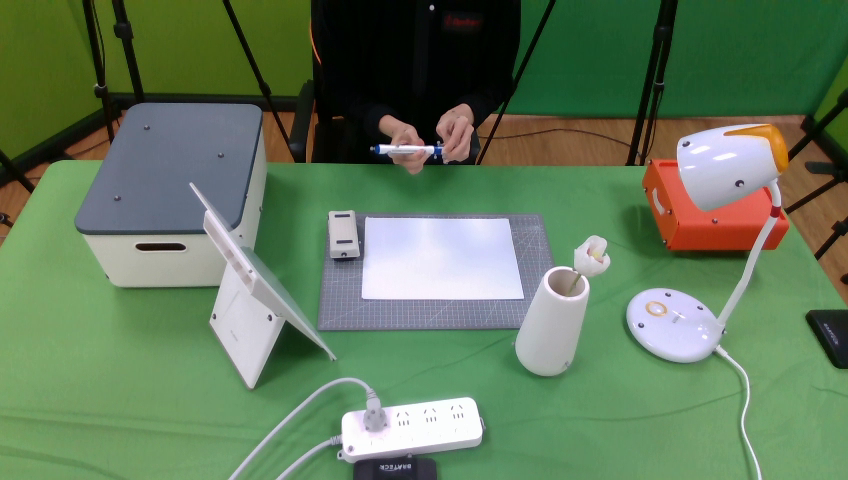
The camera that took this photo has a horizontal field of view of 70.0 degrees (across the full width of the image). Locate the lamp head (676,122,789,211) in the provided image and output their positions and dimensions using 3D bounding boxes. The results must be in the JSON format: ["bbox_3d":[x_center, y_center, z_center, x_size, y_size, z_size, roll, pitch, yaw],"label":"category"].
[{"bbox_3d":[0.423,-0.104,0.819,0.122,0.113,0.112,-13,33,40],"label":"lamp head"}]

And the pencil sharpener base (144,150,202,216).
[{"bbox_3d":[-0.493,-0.113,1.199,0.061,0.107,0.076,15,47,11],"label":"pencil sharpener base"}]

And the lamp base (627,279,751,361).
[{"bbox_3d":[0.459,0.100,1.027,0.178,0.181,0.160,27,51,17],"label":"lamp base"}]

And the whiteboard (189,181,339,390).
[{"bbox_3d":[-0.292,0.096,0.929,0.144,0.307,0.216,-37,57,-10],"label":"whiteboard"}]

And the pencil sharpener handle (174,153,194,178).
[{"bbox_3d":[-0.479,-0.156,1.225,0.036,0.068,0.030,24,48,2],"label":"pencil sharpener handle"}]

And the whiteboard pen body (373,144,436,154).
[{"bbox_3d":[-0.025,-0.164,1.100,0.141,0.017,0.017,-3,45,-27],"label":"whiteboard pen body"}]

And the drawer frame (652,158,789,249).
[{"bbox_3d":[0.571,-0.075,1.214,0.214,0.083,0.200,0,45,-1],"label":"drawer frame"}]

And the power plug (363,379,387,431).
[{"bbox_3d":[-0.072,0.252,0.910,0.035,0.053,0.072,3,45,-1],"label":"power plug"}]

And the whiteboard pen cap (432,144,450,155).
[{"bbox_3d":[0.030,-0.168,1.123,0.033,0.018,0.018,-8,46,-30],"label":"whiteboard pen cap"}]

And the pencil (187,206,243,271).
[{"bbox_3d":[-0.401,-0.009,1.176,0.012,0.012,0.193,15,45,10],"label":"pencil"}]

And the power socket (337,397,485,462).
[{"bbox_3d":[-0.018,0.285,0.915,0.227,0.033,0.071,-5,46,-8],"label":"power socket"}]

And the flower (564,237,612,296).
[{"bbox_3d":[0.206,0.088,0.893,0.038,0.363,0.044,-16,67,-9],"label":"flower"}]

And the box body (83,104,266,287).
[{"bbox_3d":[-0.447,-0.088,1.150,0.254,0.161,0.361,-1,46,-5],"label":"box body"}]

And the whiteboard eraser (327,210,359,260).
[{"bbox_3d":[-0.158,-0.009,1.177,0.055,0.042,0.112,-6,47,-7],"label":"whiteboard eraser"}]

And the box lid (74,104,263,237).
[{"bbox_3d":[-0.443,-0.139,1.095,0.263,0.015,0.369,-1,45,-5],"label":"box lid"}]

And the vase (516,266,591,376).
[{"bbox_3d":[0.208,0.132,0.964,0.098,0.201,0.097,3,46,-3],"label":"vase"}]

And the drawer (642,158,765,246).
[{"bbox_3d":[0.566,-0.076,1.211,0.212,0.073,0.193,2,45,-2],"label":"drawer"}]
